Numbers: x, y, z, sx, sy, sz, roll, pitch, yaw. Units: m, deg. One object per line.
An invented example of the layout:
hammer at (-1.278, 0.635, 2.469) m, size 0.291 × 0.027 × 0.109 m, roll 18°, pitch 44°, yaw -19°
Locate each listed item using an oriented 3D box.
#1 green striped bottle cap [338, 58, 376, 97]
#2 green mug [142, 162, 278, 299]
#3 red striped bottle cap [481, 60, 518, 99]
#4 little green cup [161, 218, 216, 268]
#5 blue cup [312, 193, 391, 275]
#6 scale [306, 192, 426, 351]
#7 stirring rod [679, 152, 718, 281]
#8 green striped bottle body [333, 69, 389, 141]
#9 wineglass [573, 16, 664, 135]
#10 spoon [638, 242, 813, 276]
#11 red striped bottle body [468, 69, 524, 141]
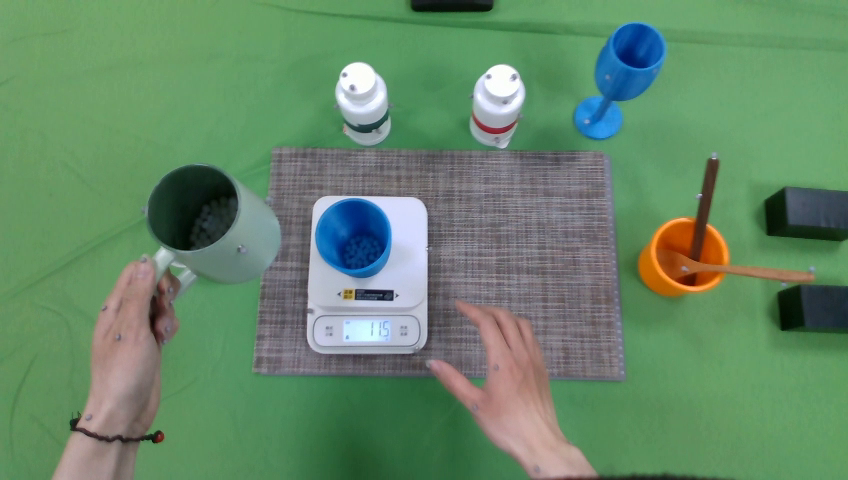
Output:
green striped bottle cap at (-0.080, -0.194, 0.720) m, size 0.044 × 0.020 × 0.044 m, roll 0°, pitch 75°, yaw 0°
green mug at (-0.195, -0.001, 0.536) m, size 0.092 × 0.105 × 0.125 m, roll 35°, pitch 80°, yaw 10°
red striped bottle cap at (0.091, -0.192, 0.723) m, size 0.044 × 0.018 × 0.044 m, roll 0°, pitch 73°, yaw 1°
little green cup at (-0.295, 0.006, 0.767) m, size 0.061 × 0.039 × 0.061 m, roll 0°, pitch 75°, yaw -1°
blue cup at (-0.078, 0.002, 0.702) m, size 0.092 × 0.100 × 0.092 m, roll 0°, pitch 77°, yaw 0°
scale at (-0.072, 0.037, 0.760) m, size 0.149 × 0.032 × 0.200 m, roll 0°, pitch 76°, yaw 0°
stirring rod at (0.325, -0.023, 0.720) m, size 0.014 × 0.177 × 0.006 m, roll 6°, pitch 35°, yaw 15°
green striped bottle body at (-0.080, -0.178, 0.774) m, size 0.063 × 0.120 × 0.063 m, roll 0°, pitch 75°, yaw 0°
wineglass at (0.236, -0.198, 0.752) m, size 0.074 × 0.173 × 0.073 m, roll 0°, pitch 75°, yaw 1°
spoon at (0.343, 0.028, 0.707) m, size 0.022 × 0.192 × 0.041 m, roll 22°, pitch 79°, yaw -39°
red striped bottle body at (0.091, -0.178, 0.775) m, size 0.063 × 0.120 × 0.062 m, roll 0°, pitch 75°, yaw 0°
